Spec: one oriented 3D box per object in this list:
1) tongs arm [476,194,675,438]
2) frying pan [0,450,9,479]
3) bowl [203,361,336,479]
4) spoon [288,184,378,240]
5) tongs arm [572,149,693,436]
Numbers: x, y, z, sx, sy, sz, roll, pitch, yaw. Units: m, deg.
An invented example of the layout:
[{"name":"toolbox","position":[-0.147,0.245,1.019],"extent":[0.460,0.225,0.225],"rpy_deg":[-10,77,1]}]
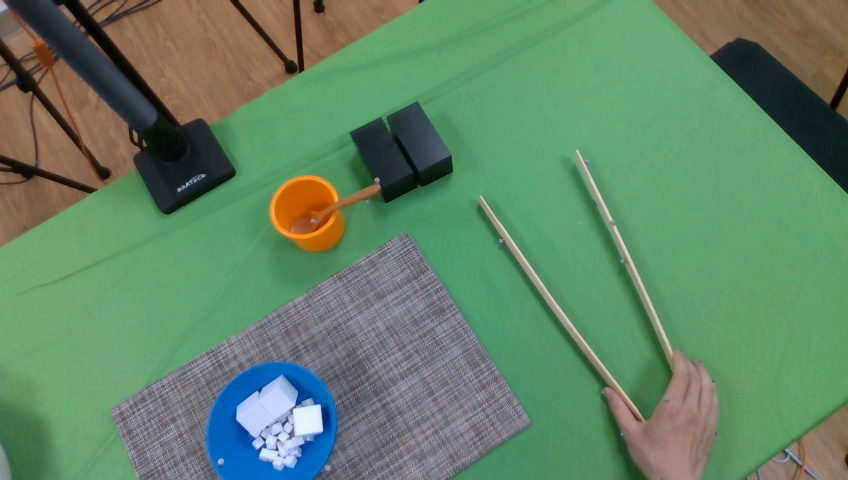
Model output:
[{"name":"tongs arm","position":[0.179,0.090,0.774],"extent":[0.028,0.028,0.384],"rpy_deg":[-32,71,-10]},{"name":"frying pan","position":[-0.562,0.393,0.682],"extent":[0.484,0.103,0.306],"rpy_deg":[39,78,24]},{"name":"bowl","position":[-0.172,0.225,0.722],"extent":[0.151,0.077,0.150],"rpy_deg":[-1,70,4]},{"name":"spoon","position":[-0.121,-0.038,0.780],"extent":[0.022,0.193,0.041],"rpy_deg":[20,63,-34]},{"name":"tongs arm","position":[0.252,0.055,0.777],"extent":[0.051,0.027,0.382],"rpy_deg":[-20,71,-2]}]
